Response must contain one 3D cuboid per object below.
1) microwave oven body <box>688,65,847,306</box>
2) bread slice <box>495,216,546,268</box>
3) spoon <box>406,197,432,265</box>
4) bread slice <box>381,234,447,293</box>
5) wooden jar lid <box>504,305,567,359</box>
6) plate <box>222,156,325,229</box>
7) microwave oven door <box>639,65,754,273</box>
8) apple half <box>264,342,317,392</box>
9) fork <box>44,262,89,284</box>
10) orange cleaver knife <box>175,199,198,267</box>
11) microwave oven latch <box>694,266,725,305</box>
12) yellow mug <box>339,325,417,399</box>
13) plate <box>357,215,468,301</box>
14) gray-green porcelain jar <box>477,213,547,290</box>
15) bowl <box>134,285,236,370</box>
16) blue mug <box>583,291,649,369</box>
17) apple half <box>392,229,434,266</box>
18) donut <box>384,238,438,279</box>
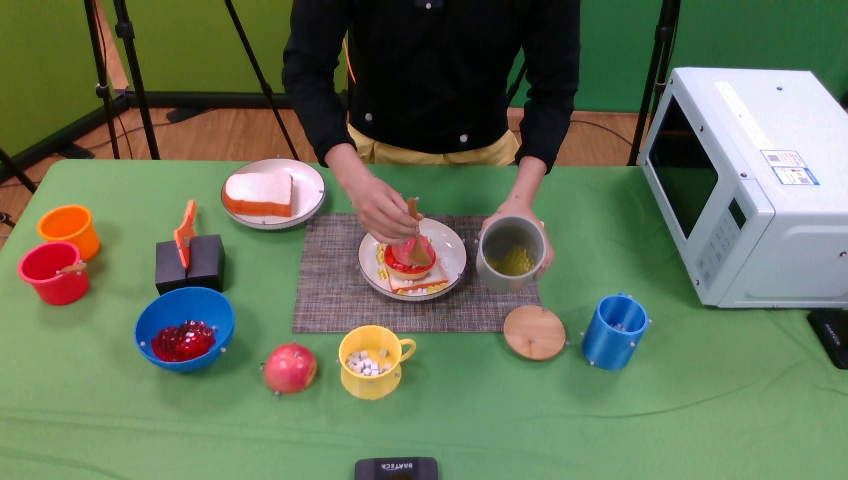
[{"bbox_3d":[0.669,-0.111,1.176,0.326,0.261,0.439,0,46,-3],"label":"microwave oven body"},{"bbox_3d":[0.194,0.002,1.205,0.105,0.019,0.131,5,46,2],"label":"bread slice"},{"bbox_3d":[-0.013,-0.011,0.974,0.041,0.195,0.021,8,55,12],"label":"spoon"},{"bbox_3d":[-0.029,0.041,1.143,0.107,0.018,0.133,-11,51,-15],"label":"bread slice"},{"bbox_3d":[0.192,0.161,1.051,0.108,0.021,0.107,3,49,-3],"label":"wooden jar lid"},{"bbox_3d":[-0.308,-0.095,1.251,0.209,0.038,0.208,2,47,-2],"label":"plate"},{"bbox_3d":[0.522,-0.147,1.193,0.039,0.245,0.353,0,47,-3],"label":"microwave oven door"},{"bbox_3d":[-0.214,0.198,0.970,0.074,0.053,0.080,19,48,10],"label":"apple half"},{"bbox_3d":[-0.598,0.054,1.014,0.207,0.019,0.028,-15,29,45],"label":"fork"},{"bbox_3d":[-0.438,-0.017,1.138,0.012,0.077,0.210,-14,27,-7],"label":"orange cleaver knife"},{"bbox_3d":[0.523,0.082,1.115,0.030,0.029,0.078,3,46,0],"label":"microwave oven latch"},{"bbox_3d":[-0.072,0.190,0.978,0.131,0.064,0.099,-17,50,-20],"label":"yellow mug"},{"bbox_3d":[-0.022,0.037,1.141,0.208,0.039,0.206,2,46,-2],"label":"plate"},{"bbox_3d":[0.141,0.023,0.999,0.106,0.127,0.105,-1,75,2],"label":"gray-green porcelain jar"},{"bbox_3d":[-0.377,0.155,0.981,0.151,0.077,0.150,2,46,-2],"label":"bowl"},{"bbox_3d":[0.324,0.142,1.023,0.082,0.106,0.116,15,47,11],"label":"blue mug"},{"bbox_3d":[-0.020,0.005,1.083,0.081,0.033,0.081,6,48,-7],"label":"apple half"},{"bbox_3d":[-0.025,0.029,1.109,0.099,0.048,0.098,2,47,-2],"label":"donut"}]
